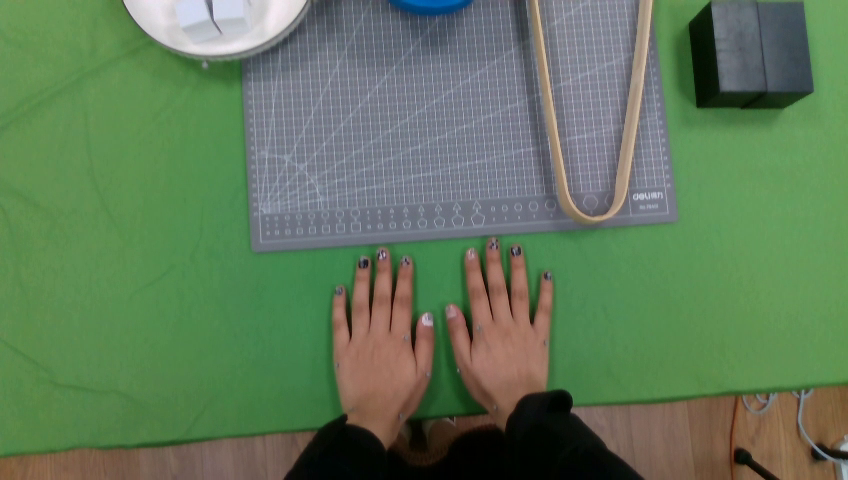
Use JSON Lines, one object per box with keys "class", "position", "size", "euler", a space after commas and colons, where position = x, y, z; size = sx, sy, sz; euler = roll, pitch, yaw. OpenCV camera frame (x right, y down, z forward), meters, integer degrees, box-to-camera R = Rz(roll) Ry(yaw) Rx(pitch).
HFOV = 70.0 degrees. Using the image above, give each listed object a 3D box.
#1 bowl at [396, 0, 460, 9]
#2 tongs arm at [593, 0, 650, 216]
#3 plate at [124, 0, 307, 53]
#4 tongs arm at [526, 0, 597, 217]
{"class": "bowl", "position": [0.002, -0.299, 0.624], "size": [0.151, 0.077, 0.151], "euler": [0, 84, -3]}
{"class": "tongs arm", "position": [0.221, -0.213, 0.650], "size": [0.028, 0.028, 0.386], "euler": [10, 84, -9]}
{"class": "plate", "position": [-0.213, -0.291, 0.634], "size": [0.208, 0.039, 0.207], "euler": [0, 84, -2]}
{"class": "tongs arm", "position": [0.137, -0.214, 0.643], "size": [0.051, 0.026, 0.383], "euler": [-4, 85, -7]}
